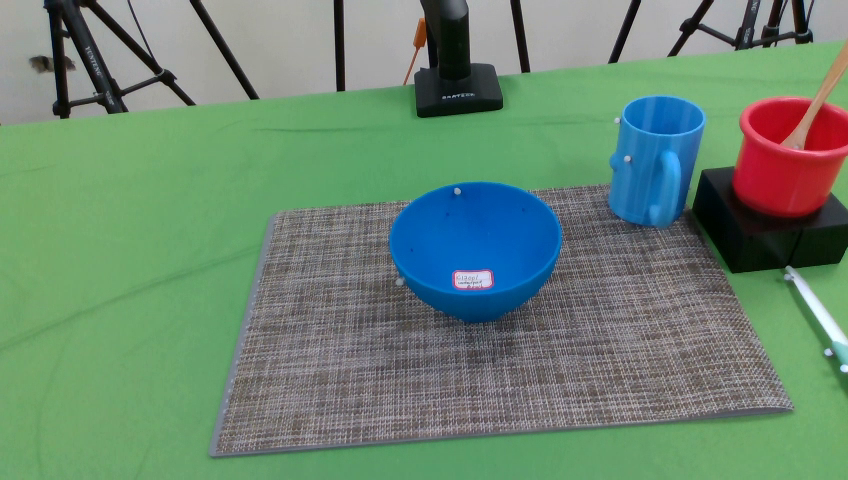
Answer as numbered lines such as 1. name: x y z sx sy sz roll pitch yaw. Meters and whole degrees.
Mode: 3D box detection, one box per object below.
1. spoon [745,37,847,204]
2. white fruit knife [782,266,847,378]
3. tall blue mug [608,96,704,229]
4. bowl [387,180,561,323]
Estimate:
1. spoon: 0.352 -0.118 0.546 0.041 0.022 0.194 33 99 38
2. white fruit knife: 0.340 0.091 0.489 0.027 0.016 0.205 16 37 -16
3. tall blue mug: 0.237 -0.070 0.603 0.078 0.109 0.106 -19 43 -14
4. bowl: 0.046 0.022 0.549 0.151 0.077 0.150 -4 42 4
